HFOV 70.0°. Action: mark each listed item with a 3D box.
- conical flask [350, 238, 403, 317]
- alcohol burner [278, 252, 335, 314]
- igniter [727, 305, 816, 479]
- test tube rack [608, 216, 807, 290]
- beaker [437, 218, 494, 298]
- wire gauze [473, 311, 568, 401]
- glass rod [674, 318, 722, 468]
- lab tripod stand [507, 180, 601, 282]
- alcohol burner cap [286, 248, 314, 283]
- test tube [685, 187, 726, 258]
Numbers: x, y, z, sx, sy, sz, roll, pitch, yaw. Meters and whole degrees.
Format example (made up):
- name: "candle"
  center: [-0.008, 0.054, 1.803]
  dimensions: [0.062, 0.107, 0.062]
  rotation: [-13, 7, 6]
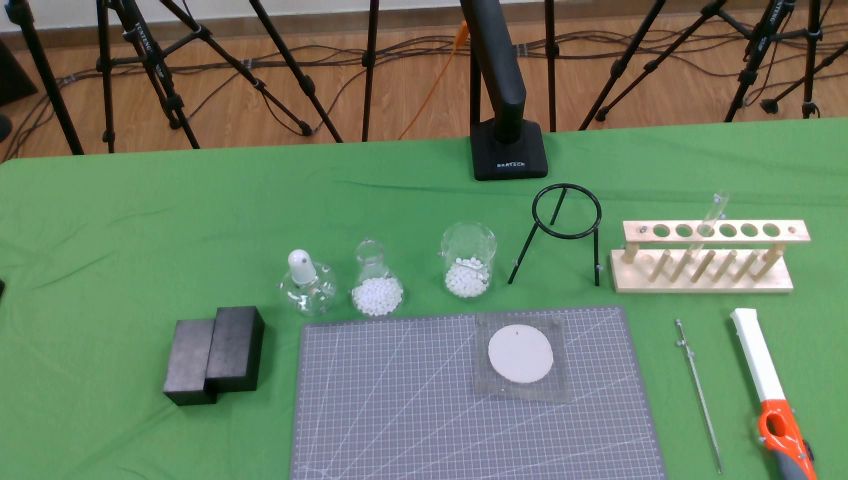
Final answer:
- name: "conical flask"
  center: [-0.070, 0.046, 0.819]
  dimensions: [0.075, 0.123, 0.074]
  rotation: [-1, 56, 2]
- name: "alcohol burner"
  center: [-0.163, 0.052, 0.824]
  dimensions: [0.078, 0.120, 0.077]
  rotation: [-2, 57, 3]
- name: "igniter"
  center: [0.433, 0.206, 0.753]
  dimensions: [0.057, 0.025, 0.274]
  rotation: [3, 56, -7]
- name: "test tube rack"
  center: [0.391, 0.020, 0.843]
  dimensions: [0.242, 0.086, 0.066]
  rotation: [0, 56, 2]
- name: "beaker"
  center: [0.059, 0.030, 0.839]
  dimensions: [0.074, 0.101, 0.083]
  rotation: [-19, 58, -10]
- name: "wire gauze"
  center: [0.128, 0.150, 0.809]
  dimensions: [0.125, 0.011, 0.120]
  rotation: [5, 56, 2]
- name: "glass rod"
  center: [0.349, 0.190, 0.778]
  dimensions: [0.008, 0.008, 0.198]
  rotation: [-2, 56, 0]
- name: "lab tripod stand"
  center: [0.183, -0.005, 0.838]
  dimensions: [0.148, 0.132, 0.147]
  rotation: [-1, 58, 2]
- name: "alcohol burner cap"
  center: [-0.164, 0.030, 0.795]
  dimensions: [0.034, 0.048, 0.033]
  rotation: [-1, 50, 1]
- name: "test tube"
  center: [0.372, -0.019, 0.810]
  dimensions: [0.017, 0.151, 0.017]
  rotation: [-2, 56, 4]
